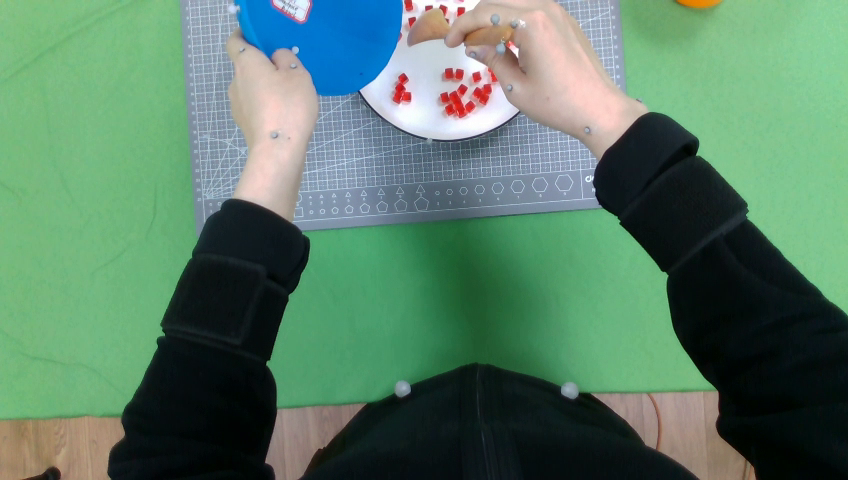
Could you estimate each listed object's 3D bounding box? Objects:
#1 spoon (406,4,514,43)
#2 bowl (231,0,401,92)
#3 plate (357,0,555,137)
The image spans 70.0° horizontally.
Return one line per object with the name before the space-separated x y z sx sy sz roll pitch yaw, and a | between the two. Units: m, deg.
spoon | 0.025 -0.162 0.461 0.041 0.192 0.022 -47 121 1
bowl | -0.102 -0.204 0.513 0.076 0.153 0.151 21 91 47
plate | 0.024 -0.205 0.602 0.209 0.038 0.209 0 90 3
